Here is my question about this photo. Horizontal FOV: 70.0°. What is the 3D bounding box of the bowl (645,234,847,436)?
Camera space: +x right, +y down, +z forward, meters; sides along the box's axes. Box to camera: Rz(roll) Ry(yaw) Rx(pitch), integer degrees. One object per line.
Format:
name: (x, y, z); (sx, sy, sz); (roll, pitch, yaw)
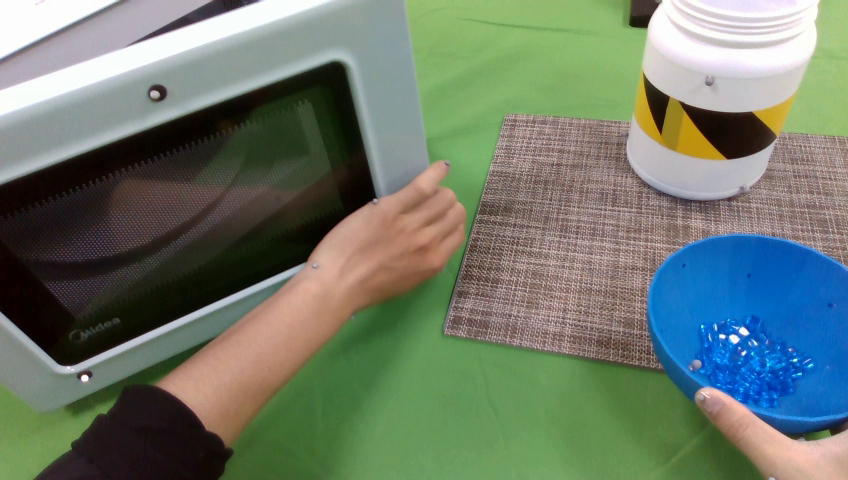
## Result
bowl: (0.226, 0.076, 0.418); (0.151, 0.077, 0.150); (-4, 46, 5)

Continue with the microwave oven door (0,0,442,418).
microwave oven door: (-0.161, -0.019, 0.434); (0.356, 0.246, 0.039); (-25, 49, -14)

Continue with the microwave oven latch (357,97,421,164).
microwave oven latch: (-0.038, -0.116, 0.640); (0.030, 0.030, 0.079); (34, 61, 31)

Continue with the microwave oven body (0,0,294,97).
microwave oven body: (-0.276, -0.139, 0.563); (0.323, 0.263, 0.441); (32, 60, 30)

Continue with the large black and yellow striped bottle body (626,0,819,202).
large black and yellow striped bottle body: (0.259, -0.139, 0.539); (0.131, 0.186, 0.129); (-4, 48, 5)
